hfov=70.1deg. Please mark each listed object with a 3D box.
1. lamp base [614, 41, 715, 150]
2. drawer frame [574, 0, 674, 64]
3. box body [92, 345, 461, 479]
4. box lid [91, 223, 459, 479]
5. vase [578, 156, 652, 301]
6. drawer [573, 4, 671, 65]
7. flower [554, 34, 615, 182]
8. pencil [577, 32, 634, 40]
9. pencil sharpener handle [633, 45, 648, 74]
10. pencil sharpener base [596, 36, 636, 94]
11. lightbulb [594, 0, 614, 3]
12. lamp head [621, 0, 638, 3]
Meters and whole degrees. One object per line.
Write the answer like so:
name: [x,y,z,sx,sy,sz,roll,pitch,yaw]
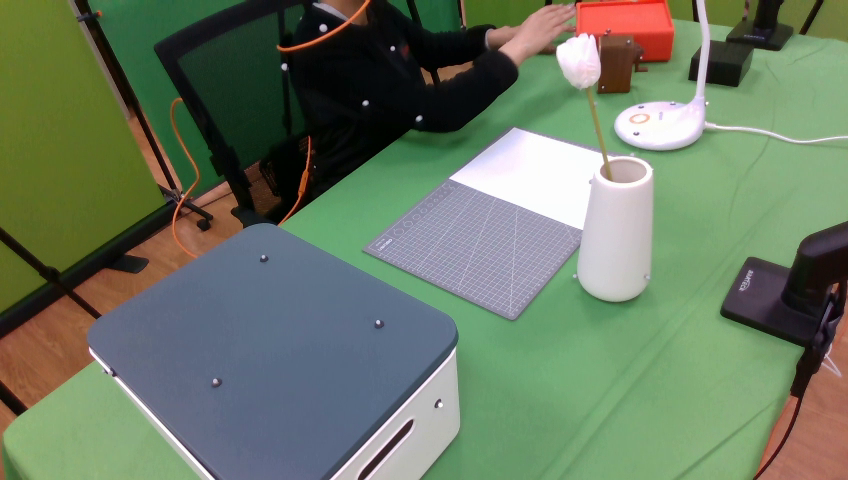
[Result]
lamp base: [0.449,-0.277,1.106,0.179,0.181,0.160,1,41,9]
drawer frame: [0.464,-0.492,1.434,0.213,0.083,0.201,1,40,12]
box body: [-0.162,0.170,0.708,0.361,0.161,0.255,25,50,34]
box lid: [-0.174,0.102,0.666,0.368,0.015,0.264,24,48,35]
vase: [0.261,-0.011,0.812,0.098,0.201,0.097,-4,40,4]
drawer: [0.461,-0.490,1.434,0.211,0.073,0.194,2,40,12]
flower: [0.237,-0.083,0.774,0.044,0.363,0.038,-23,26,6]
pencil: [0.430,-0.487,1.443,0.012,0.012,0.192,-25,30,-18]
pencil sharpener handle: [0.454,-0.378,1.262,0.030,0.068,0.036,2,47,13]
pencil sharpener base: [0.405,-0.369,1.280,0.076,0.107,0.061,2,41,13]
lightbulb: [0.305,-0.437,0.976,0.060,0.107,0.059,12,45,-11]
lamp head: [0.319,-0.453,0.962,0.113,0.123,0.112,20,33,-13]
